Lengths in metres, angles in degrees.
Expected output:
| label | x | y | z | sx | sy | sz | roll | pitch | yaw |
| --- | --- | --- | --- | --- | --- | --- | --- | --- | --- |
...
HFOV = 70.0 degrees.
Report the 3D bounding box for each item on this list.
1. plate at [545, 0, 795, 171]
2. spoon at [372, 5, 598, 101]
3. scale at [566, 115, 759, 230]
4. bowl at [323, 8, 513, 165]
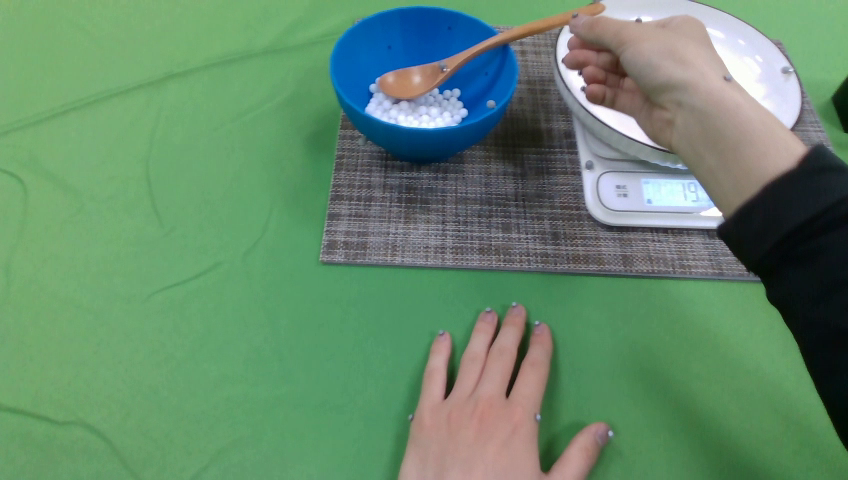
| label | x | y | z | sx | sy | sz | roll | pitch | yaw |
| --- | --- | --- | --- | --- | --- | --- | --- | --- | --- |
| plate | 0.205 | -0.134 | 0.522 | 0.209 | 0.038 | 0.207 | 2 | 55 | -3 |
| spoon | 0.049 | -0.156 | 0.500 | 0.193 | 0.022 | 0.041 | -20 | 48 | 10 |
| scale | 0.203 | -0.097 | 0.536 | 0.149 | 0.032 | 0.199 | 2 | 55 | -2 |
| bowl | -0.005 | -0.117 | 0.510 | 0.151 | 0.077 | 0.150 | 2 | 55 | -2 |
